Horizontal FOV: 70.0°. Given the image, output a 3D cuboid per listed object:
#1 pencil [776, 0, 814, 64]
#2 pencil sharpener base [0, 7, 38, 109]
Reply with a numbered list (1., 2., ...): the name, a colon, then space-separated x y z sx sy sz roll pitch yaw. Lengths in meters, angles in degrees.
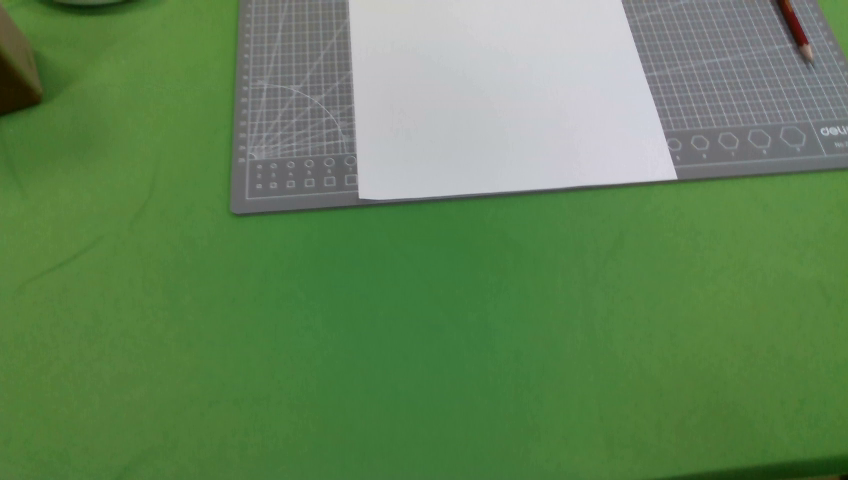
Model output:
1. pencil: 0.276 -0.217 0.486 0.012 0.012 0.192 -6 66 -4
2. pencil sharpener base: -0.307 -0.129 0.373 0.077 0.108 0.061 -24 67 -12
